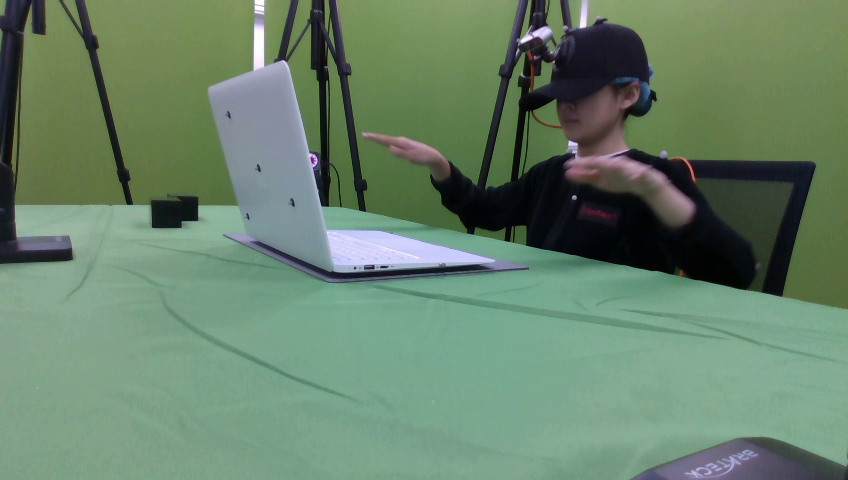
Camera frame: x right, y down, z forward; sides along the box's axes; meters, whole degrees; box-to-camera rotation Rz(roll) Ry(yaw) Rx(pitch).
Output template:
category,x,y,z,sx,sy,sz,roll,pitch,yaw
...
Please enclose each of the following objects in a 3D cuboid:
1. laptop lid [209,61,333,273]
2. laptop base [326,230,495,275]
category,x,y,z,sx,sy,sz,roll,pitch,yaw
laptop lid,-0.213,-0.095,0.790,0.013,0.241,0.355,-18,18,-29
laptop base,-0.093,0.015,0.883,0.237,0.023,0.352,3,6,-33
